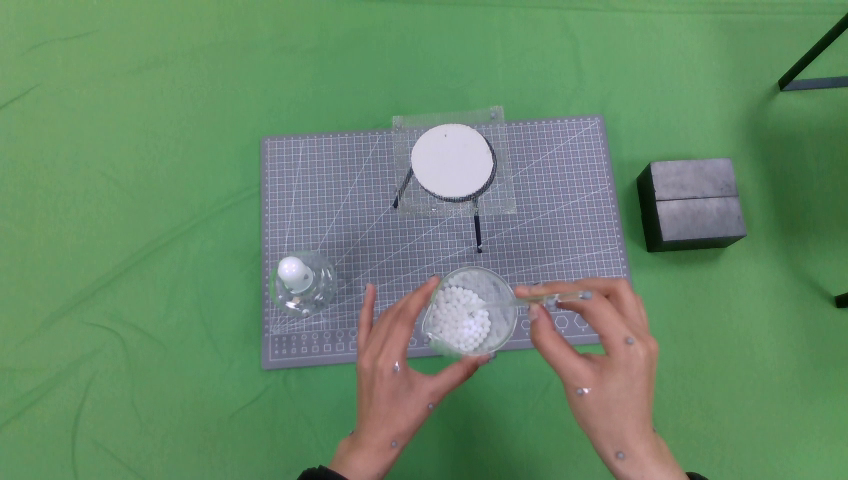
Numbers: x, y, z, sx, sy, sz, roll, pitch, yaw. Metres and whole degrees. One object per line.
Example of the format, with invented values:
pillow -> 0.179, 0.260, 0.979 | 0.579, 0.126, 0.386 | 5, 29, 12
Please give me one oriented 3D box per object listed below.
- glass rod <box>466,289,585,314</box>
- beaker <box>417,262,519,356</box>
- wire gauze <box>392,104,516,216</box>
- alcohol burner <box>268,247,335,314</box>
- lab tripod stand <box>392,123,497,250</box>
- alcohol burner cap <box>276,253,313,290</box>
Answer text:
glass rod -> 0.071, 0.051, 0.475 | 0.008, 0.199, 0.008 | 3, 79, -17
beaker -> 0.031, 0.067, 0.538 | 0.084, 0.100, 0.073 | -19, 81, -12
wire gauze -> 0.030, -0.084, 0.638 | 0.125, 0.011, 0.121 | -3, 75, -2
alcohol burner -> -0.140, 0.042, 0.679 | 0.078, 0.119, 0.077 | 0, 76, -1
lab tripod stand -> 0.033, -0.069, 0.703 | 0.148, 0.132, 0.147 | 0, 72, 0
alcohol burner cap -> -0.140, 0.032, 0.644 | 0.034, 0.048, 0.033 | -1, 69, 3
